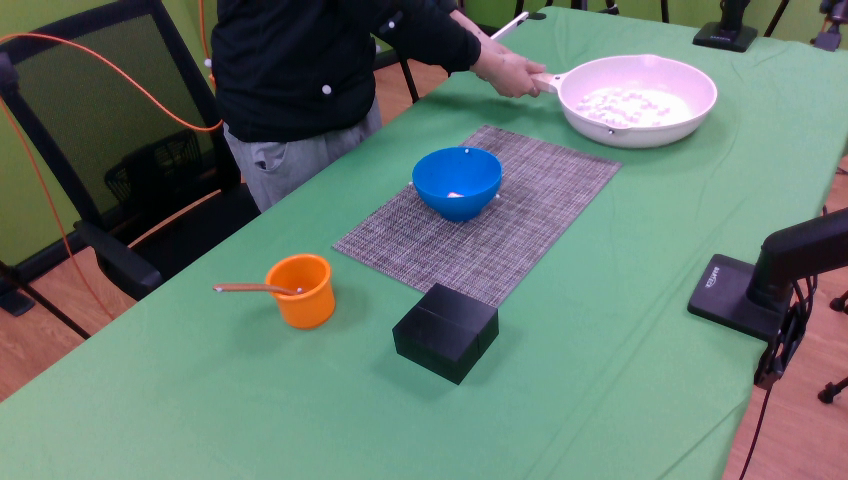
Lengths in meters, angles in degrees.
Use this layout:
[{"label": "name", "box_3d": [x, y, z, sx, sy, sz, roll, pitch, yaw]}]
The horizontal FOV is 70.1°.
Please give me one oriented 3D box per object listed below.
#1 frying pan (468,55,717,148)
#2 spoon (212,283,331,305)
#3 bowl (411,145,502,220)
[{"label": "frying pan", "box_3d": [0.316, -0.304, 1.213, 0.485, 0.103, 0.307, 20, 46, 17]}, {"label": "spoon", "box_3d": [-0.201, 0.069, 0.819, 0.041, 0.195, 0.021, 32, 99, 37]}, {"label": "bowl", "box_3d": [0.057, -0.086, 1.010, 0.151, 0.077, 0.150, -4, 41, 4]}]
